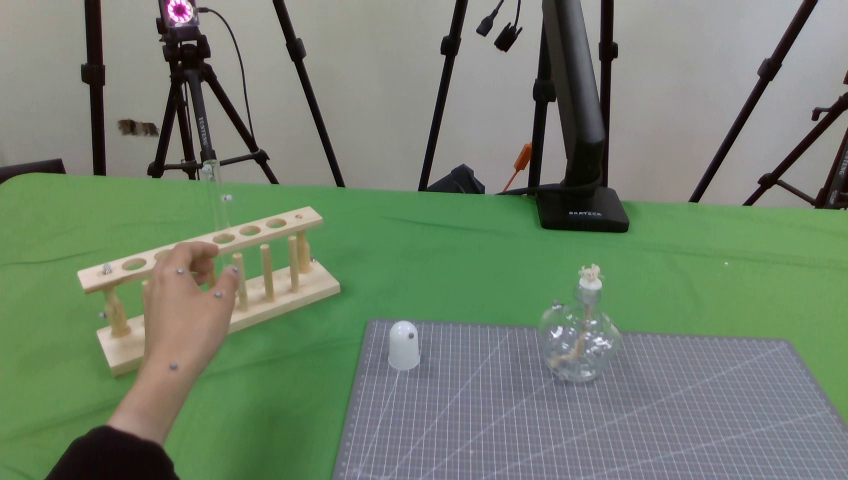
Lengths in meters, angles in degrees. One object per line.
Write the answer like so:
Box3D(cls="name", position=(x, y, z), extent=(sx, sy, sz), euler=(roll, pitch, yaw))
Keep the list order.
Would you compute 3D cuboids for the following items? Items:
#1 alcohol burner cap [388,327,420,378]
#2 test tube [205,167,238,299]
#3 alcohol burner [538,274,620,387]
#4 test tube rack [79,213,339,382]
Box3D(cls="alcohol burner cap", position=(-0.020, 0.107, 0.593), extent=(0.034, 0.048, 0.033), euler=(2, 32, -1))
Box3D(cls="test tube", position=(-0.210, -0.004, 0.636), extent=(0.017, 0.151, 0.017), euler=(0, 27, 0))
Box3D(cls="alcohol burner", position=(0.149, 0.080, 0.575), extent=(0.078, 0.120, 0.077), euler=(2, 33, -1))
Box3D(cls="test tube rack", position=(-0.214, 0.052, 0.639), extent=(0.243, 0.086, 0.066), euler=(-19, 36, -31))
